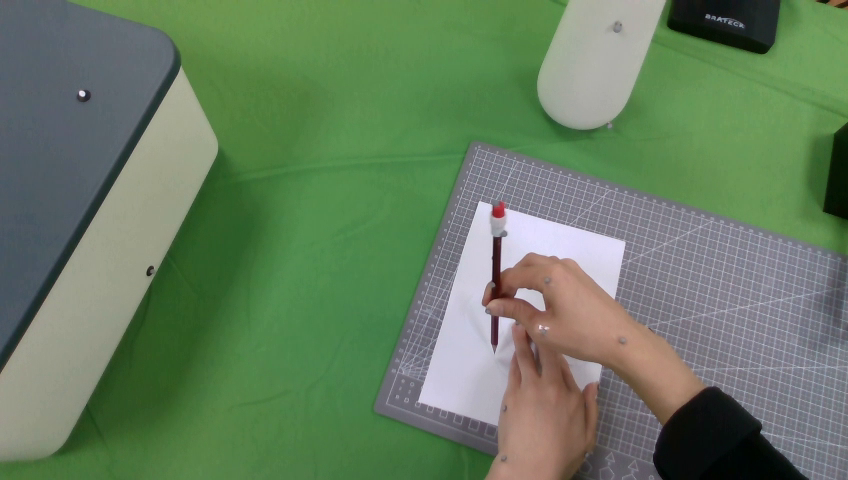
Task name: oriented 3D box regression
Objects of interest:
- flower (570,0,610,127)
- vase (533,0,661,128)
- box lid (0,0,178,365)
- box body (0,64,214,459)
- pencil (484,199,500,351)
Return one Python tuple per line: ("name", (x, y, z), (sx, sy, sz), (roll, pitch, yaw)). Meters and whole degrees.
("flower", (0.164, -0.236, 0.507), (0.044, 0.365, 0.038), (12, 52, 7))
("vase", (0.165, -0.194, 0.580), (0.098, 0.201, 0.097), (0, 68, 0))
("box lid", (-0.377, -0.047, 0.454), (0.263, 0.015, 0.369), (19, 70, 5))
("box body", (-0.378, -0.019, 0.524), (0.254, 0.161, 0.362), (18, 71, 5))
("pencil", (0.054, 0.039, 0.492), (0.012, 0.196, 0.012), (-2, 48, 3))
